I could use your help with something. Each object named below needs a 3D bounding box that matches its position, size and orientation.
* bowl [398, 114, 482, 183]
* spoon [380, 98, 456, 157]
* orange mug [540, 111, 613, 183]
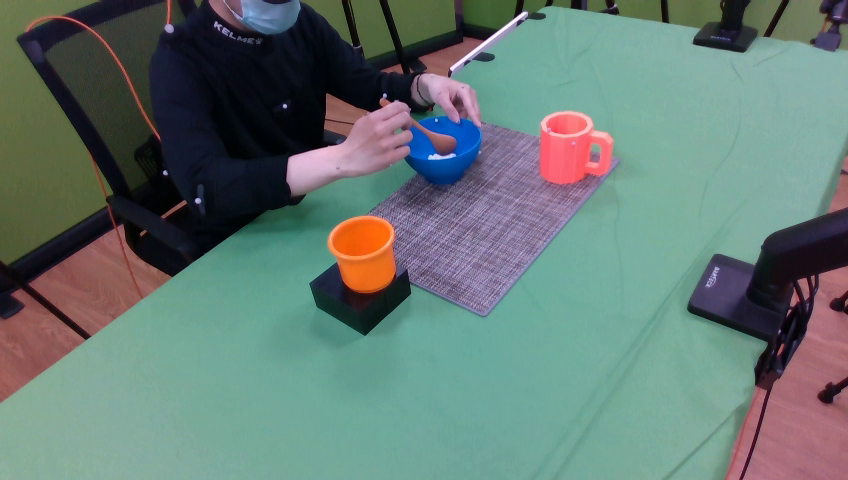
[{"bbox_3d":[0.032,-0.156,1.096,0.151,0.077,0.150,-4,41,4],"label":"bowl"},{"bbox_3d":[-0.008,-0.188,1.011,0.021,0.195,0.041,37,99,46],"label":"spoon"},{"bbox_3d":[0.263,-0.159,1.052,0.125,0.101,0.083,13,44,28],"label":"orange mug"}]
